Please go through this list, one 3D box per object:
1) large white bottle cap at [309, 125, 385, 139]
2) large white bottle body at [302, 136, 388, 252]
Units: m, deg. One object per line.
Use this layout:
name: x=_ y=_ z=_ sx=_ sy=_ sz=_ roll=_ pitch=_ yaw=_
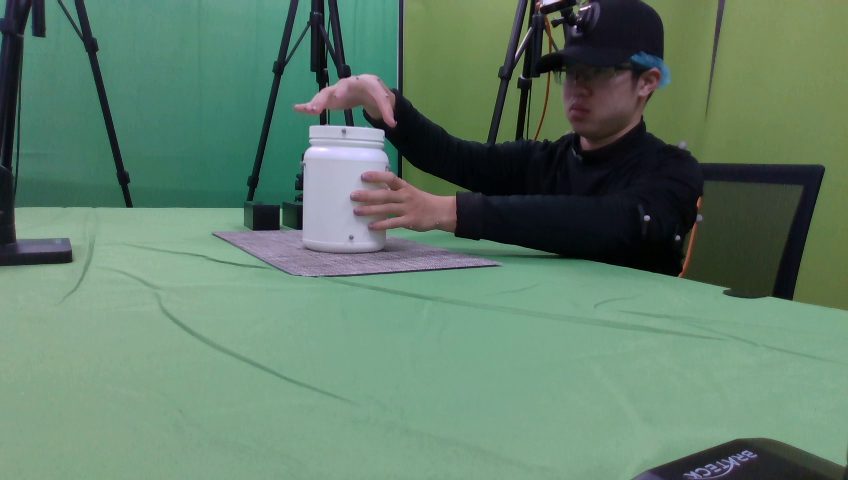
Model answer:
large white bottle cap: x=-0.117 y=-0.164 z=0.927 sx=0.115 sy=0.018 sz=0.115 roll=2 pitch=8 yaw=0
large white bottle body: x=-0.122 y=-0.080 z=0.937 sx=0.131 sy=0.184 sz=0.130 roll=2 pitch=7 yaw=0
